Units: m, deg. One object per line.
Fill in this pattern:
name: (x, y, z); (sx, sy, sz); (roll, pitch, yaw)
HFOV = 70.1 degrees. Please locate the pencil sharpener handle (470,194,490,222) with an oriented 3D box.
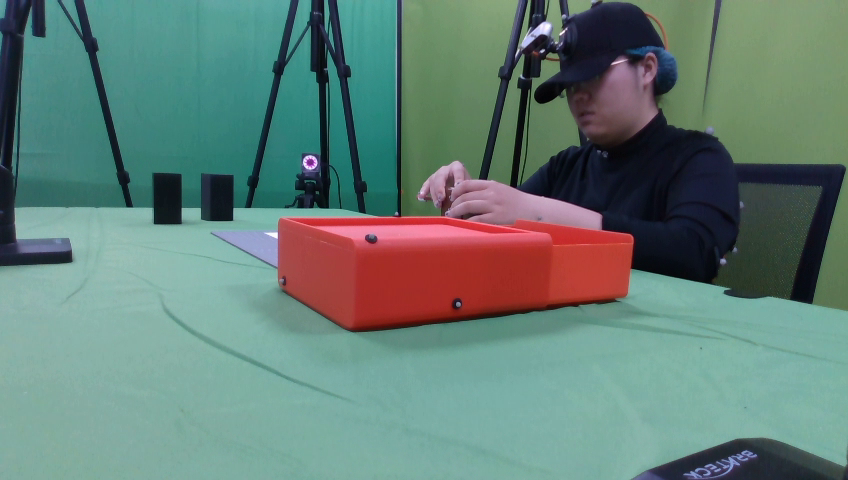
pencil sharpener handle: (0.096, -0.037, 0.943); (0.036, 0.068, 0.030); (-11, 13, -26)

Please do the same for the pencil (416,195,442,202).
pencil: (0.036, -0.070, 1.056); (0.012, 0.012, 0.193); (-1, 7, -30)

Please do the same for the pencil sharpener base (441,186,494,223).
pencil sharpener base: (0.070, -0.032, 0.988); (0.061, 0.107, 0.076); (-1, 9, -28)

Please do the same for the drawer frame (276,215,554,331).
drawer frame: (-0.015, 0.022, 0.610); (0.215, 0.082, 0.200); (-2, 9, -32)

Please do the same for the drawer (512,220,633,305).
drawer: (0.085, 0.021, 0.674); (0.213, 0.073, 0.193); (-2, 9, -32)
